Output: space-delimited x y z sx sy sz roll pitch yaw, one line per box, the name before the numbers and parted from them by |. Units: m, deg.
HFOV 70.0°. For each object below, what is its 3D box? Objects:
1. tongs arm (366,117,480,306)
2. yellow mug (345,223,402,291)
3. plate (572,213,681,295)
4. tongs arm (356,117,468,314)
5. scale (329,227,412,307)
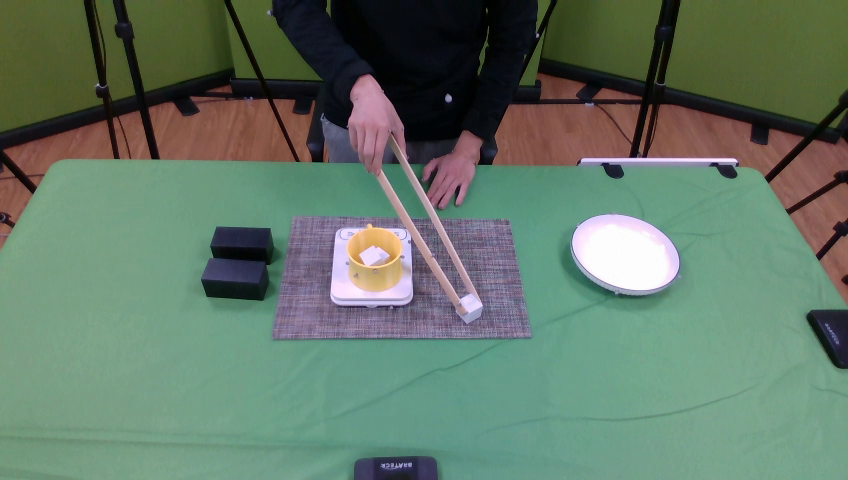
tongs arm | 0.001 -0.053 1.085 0.028 0.028 0.387 -27 86 -24
yellow mug | -0.092 0.022 1.093 0.100 0.064 0.130 -7 46 -10
plate | 0.392 0.030 1.189 0.208 0.039 0.206 2 46 -2
tongs arm | -0.017 -0.044 1.074 0.051 0.026 0.384 -32 89 -28
scale | -0.099 0.042 1.139 0.149 0.032 0.199 1 46 -4
